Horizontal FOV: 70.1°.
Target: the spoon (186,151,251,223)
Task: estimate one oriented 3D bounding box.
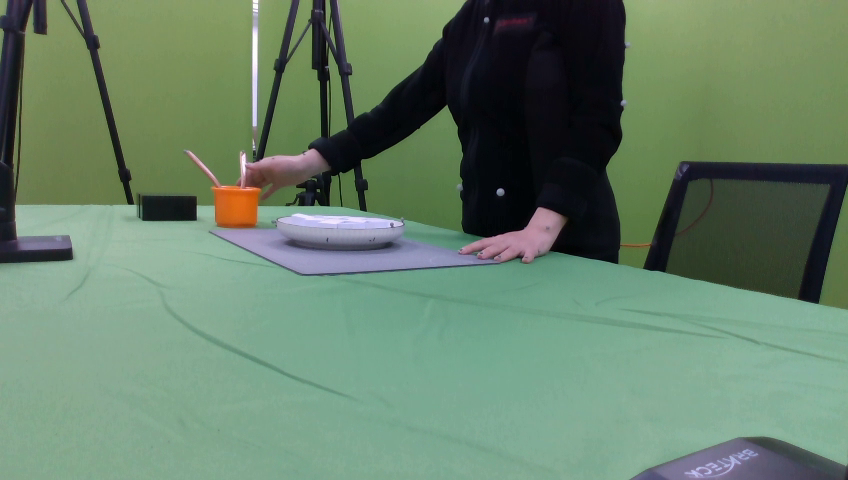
[{"bbox_3d":[-0.402,-0.104,1.176,0.021,0.193,0.042,-42,-9,26],"label":"spoon"}]

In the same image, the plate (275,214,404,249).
[{"bbox_3d":[-0.135,-0.013,0.982,0.208,0.039,0.207,3,7,0],"label":"plate"}]

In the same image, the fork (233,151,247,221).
[{"bbox_3d":[-0.366,-0.112,1.215,0.028,0.018,0.206,16,44,-29],"label":"fork"}]
